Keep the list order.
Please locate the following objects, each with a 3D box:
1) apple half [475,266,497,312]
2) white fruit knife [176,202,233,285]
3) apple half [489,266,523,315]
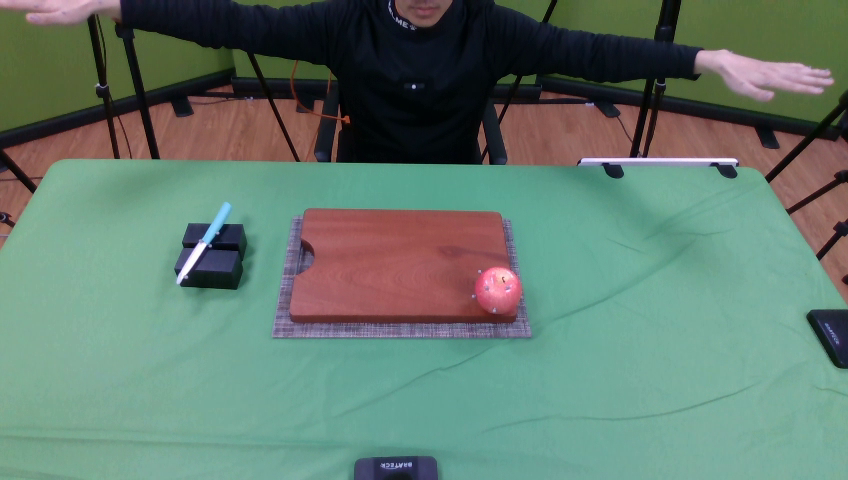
[{"bbox_3d":[0.104,0.085,1.044,0.033,0.081,0.081,10,46,1],"label":"apple half"},{"bbox_3d":[-0.397,0.003,1.102,0.027,0.016,0.206,-6,44,24],"label":"white fruit knife"},{"bbox_3d":[0.142,0.091,1.043,0.053,0.075,0.080,10,44,1],"label":"apple half"}]
